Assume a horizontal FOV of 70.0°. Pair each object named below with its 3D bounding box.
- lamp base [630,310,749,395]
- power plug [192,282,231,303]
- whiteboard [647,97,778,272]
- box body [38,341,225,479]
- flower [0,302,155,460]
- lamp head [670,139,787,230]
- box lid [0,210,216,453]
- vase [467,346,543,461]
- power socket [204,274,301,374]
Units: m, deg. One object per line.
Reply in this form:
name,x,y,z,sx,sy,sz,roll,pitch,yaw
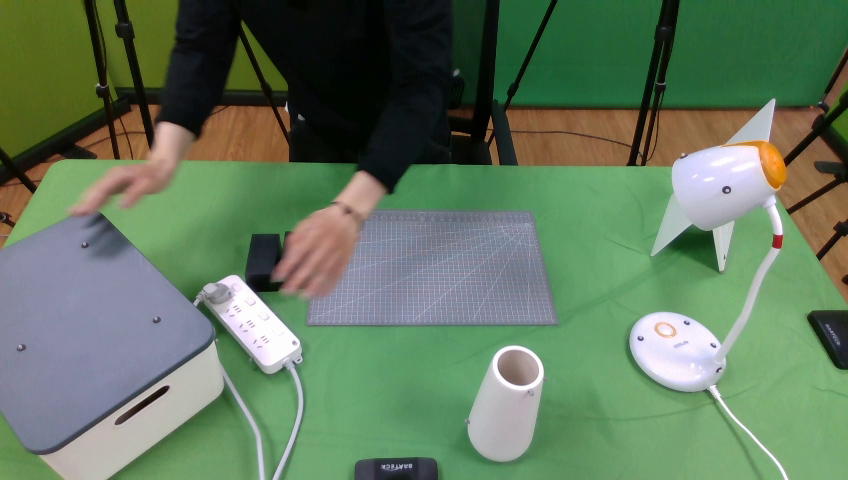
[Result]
lamp base,0.447,0.142,0.984,0.161,0.181,0.178,-24,55,-24
power plug,-0.368,0.097,1.038,0.072,0.053,0.035,-27,55,-21
whiteboard,0.602,-0.079,1.162,0.144,0.306,0.216,35,51,2
box body,-0.506,0.155,0.915,0.362,0.161,0.254,35,54,26
flower,-0.553,0.222,0.944,0.361,0.038,0.044,39,62,6
lamp head,0.415,-0.079,0.812,0.113,0.123,0.112,12,70,-37
box lid,-0.504,0.102,0.863,0.369,0.015,0.263,35,53,26
vase,0.116,0.234,0.861,0.098,0.201,0.097,1,47,-1
power socket,-0.296,0.140,1.035,0.072,0.033,0.225,-33,57,-29
